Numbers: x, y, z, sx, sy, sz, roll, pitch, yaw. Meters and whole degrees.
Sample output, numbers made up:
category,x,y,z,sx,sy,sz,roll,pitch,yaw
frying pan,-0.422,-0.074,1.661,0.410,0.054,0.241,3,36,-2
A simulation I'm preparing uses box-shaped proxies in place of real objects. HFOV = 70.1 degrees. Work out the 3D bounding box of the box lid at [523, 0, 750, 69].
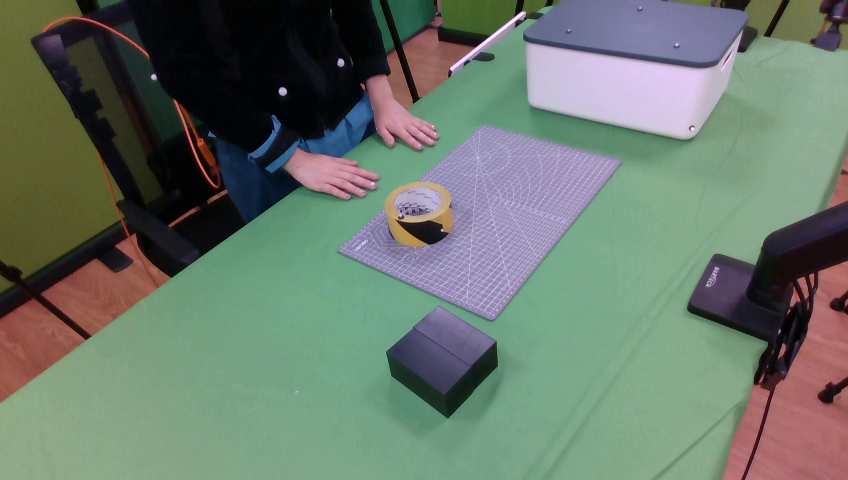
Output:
category,x,y,z,sx,sy,sz,roll,pitch,yaw
box lid,0.405,-0.409,1.163,0.368,0.015,0.264,20,47,29

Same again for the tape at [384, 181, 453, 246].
category,x,y,z,sx,sy,sz,roll,pitch,yaw
tape,-0.009,-0.045,0.994,0.117,0.053,0.116,-4,40,4

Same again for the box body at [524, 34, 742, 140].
category,x,y,z,sx,sy,sz,roll,pitch,yaw
box body,0.412,-0.355,1.213,0.361,0.161,0.254,20,48,29
